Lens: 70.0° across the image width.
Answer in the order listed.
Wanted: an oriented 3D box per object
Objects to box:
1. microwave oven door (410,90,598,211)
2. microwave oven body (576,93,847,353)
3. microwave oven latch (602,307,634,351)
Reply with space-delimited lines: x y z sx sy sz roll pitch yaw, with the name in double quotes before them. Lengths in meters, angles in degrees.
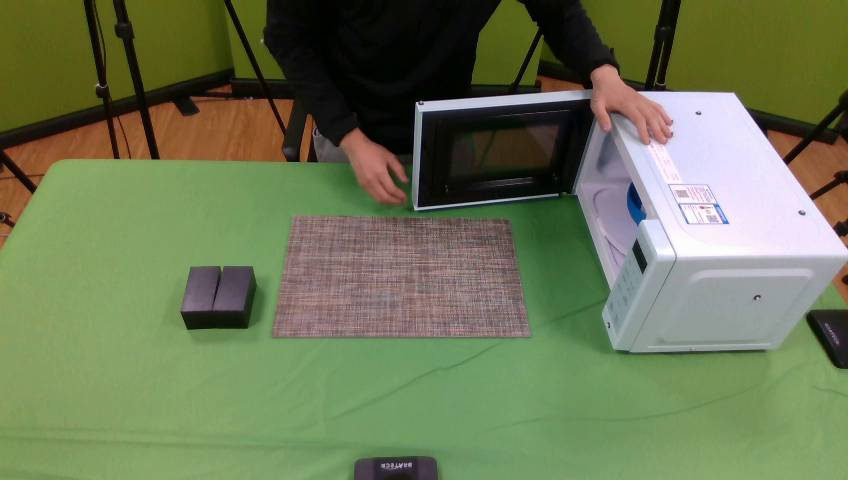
"microwave oven door" 0.152 -0.176 1.209 0.356 0.245 0.039 -7 46 -11
"microwave oven body" 0.475 -0.042 1.109 0.326 0.261 0.438 -1 45 -4
"microwave oven latch" 0.332 0.153 1.044 0.030 0.029 0.078 -1 45 -4
